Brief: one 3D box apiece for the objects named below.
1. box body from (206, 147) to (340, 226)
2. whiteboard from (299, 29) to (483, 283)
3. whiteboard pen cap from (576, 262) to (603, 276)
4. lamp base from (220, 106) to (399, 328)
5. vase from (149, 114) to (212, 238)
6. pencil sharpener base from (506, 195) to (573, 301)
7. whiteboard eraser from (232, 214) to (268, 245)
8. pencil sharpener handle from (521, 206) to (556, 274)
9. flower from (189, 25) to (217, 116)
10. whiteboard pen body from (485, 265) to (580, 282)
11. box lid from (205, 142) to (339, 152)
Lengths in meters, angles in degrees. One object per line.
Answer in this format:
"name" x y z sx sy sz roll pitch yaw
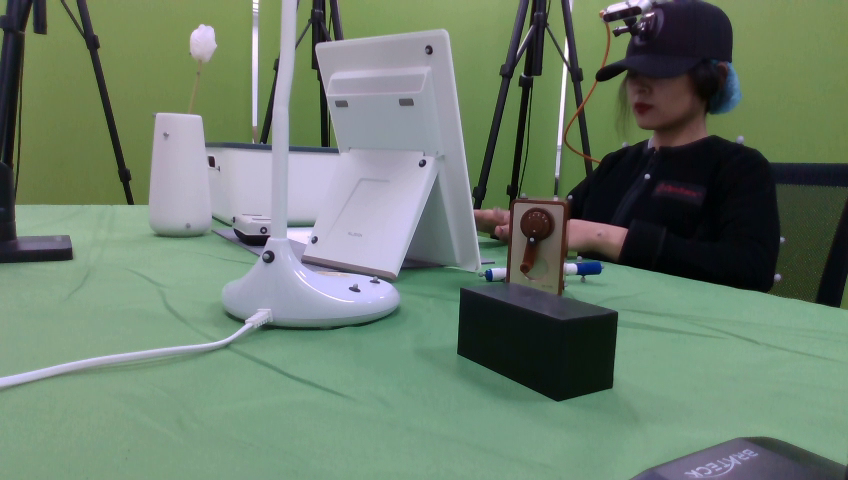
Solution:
"box body" -0.276 -0.122 1.320 0.366 0.160 0.253 -2 9 -30
"whiteboard" -0.074 -0.082 0.742 0.216 0.305 0.144 9 29 38
"whiteboard pen cap" 0.203 0.036 0.749 0.033 0.018 0.018 -2 8 -7
"lamp base" -0.102 -0.023 0.531 0.160 0.180 0.179 4 10 10
"vase" -0.405 -0.106 1.005 0.098 0.200 0.098 2 6 0
"pencil sharpener base" 0.127 0.007 0.663 0.061 0.107 0.077 5 8 15
"whiteboard eraser" -0.265 -0.018 0.954 0.056 0.042 0.112 -4 10 -28
"pencil sharpener handle" 0.111 0.000 0.613 0.036 0.067 0.031 12 10 14
"flower" -0.394 -0.189 1.012 0.044 0.361 0.038 -1 -13 28
"whiteboard pen body" 0.144 0.040 0.738 0.141 0.017 0.017 -2 8 -10
"box lid" -0.270 -0.196 1.310 0.373 0.015 0.262 -2 9 -30
